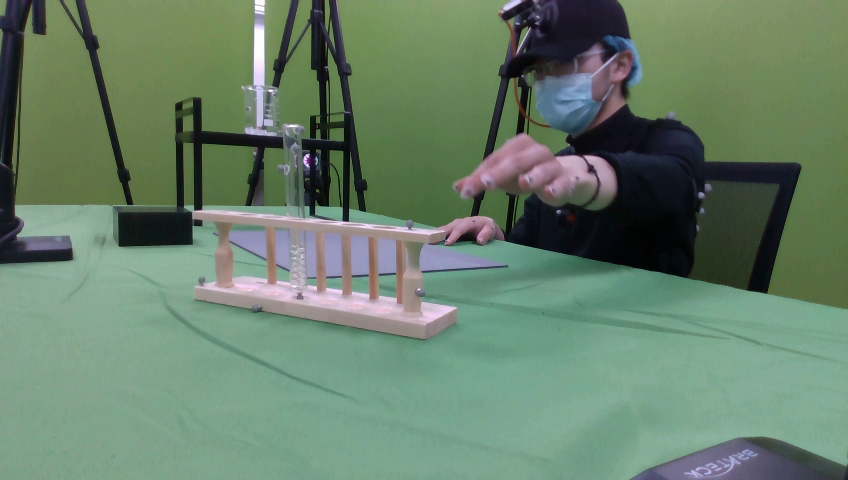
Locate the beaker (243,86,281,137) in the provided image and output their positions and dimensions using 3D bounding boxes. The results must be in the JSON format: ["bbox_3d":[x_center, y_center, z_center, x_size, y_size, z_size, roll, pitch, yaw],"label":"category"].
[{"bbox_3d":[-0.338,-0.265,1.253,0.073,0.100,0.084,8,9,38],"label":"beaker"}]

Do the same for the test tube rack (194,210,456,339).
[{"bbox_3d":[-0.093,0.023,0.546,0.241,0.085,0.067,6,8,25],"label":"test tube rack"}]

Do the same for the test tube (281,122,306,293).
[{"bbox_3d":[-0.114,-0.026,0.527,0.017,0.150,0.017,0,10,0],"label":"test tube"}]
